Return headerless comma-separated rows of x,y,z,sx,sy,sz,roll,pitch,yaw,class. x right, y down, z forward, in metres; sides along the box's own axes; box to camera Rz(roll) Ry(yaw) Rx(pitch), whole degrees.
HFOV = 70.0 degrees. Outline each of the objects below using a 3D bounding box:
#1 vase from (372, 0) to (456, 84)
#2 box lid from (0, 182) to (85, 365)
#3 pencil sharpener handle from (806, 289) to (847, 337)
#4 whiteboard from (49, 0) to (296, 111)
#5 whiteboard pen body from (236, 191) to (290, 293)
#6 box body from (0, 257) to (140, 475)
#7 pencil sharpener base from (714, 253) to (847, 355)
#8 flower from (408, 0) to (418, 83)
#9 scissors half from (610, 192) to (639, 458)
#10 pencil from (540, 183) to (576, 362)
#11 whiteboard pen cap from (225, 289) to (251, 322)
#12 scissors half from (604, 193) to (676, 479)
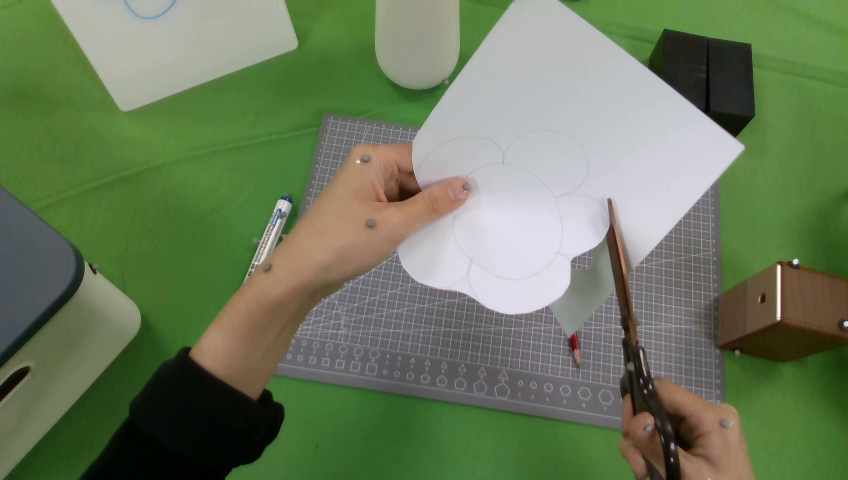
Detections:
-0.011,-0.256,0.634,0.098,0.201,0.097,0,67,0,vase
-0.472,0.011,0.454,0.370,0.015,0.262,34,71,11,box lid
0.385,0.072,0.558,0.030,0.068,0.035,13,63,0,pencil sharpener handle
-0.297,-0.332,0.630,0.217,0.308,0.142,-24,52,-10,whiteboard
-0.168,0.011,0.620,0.017,0.017,0.140,15,67,4,whiteboard pen body
-0.473,0.040,0.522,0.362,0.161,0.253,34,72,11,box body
0.335,0.064,0.569,0.077,0.107,0.061,13,68,0,pencil sharpener base
-0.014,-0.300,0.562,0.044,0.365,0.038,2,50,3,flower
0.122,0.055,0.368,0.013,0.040,0.176,-10,110,5,scissors half
0.140,0.030,0.628,0.012,0.012,0.192,-5,71,-3,pencil
-0.182,0.064,0.598,0.018,0.018,0.033,14,64,4,whiteboard pen cap
0.122,0.059,0.347,0.013,0.040,0.175,-11,88,0,scissors half
